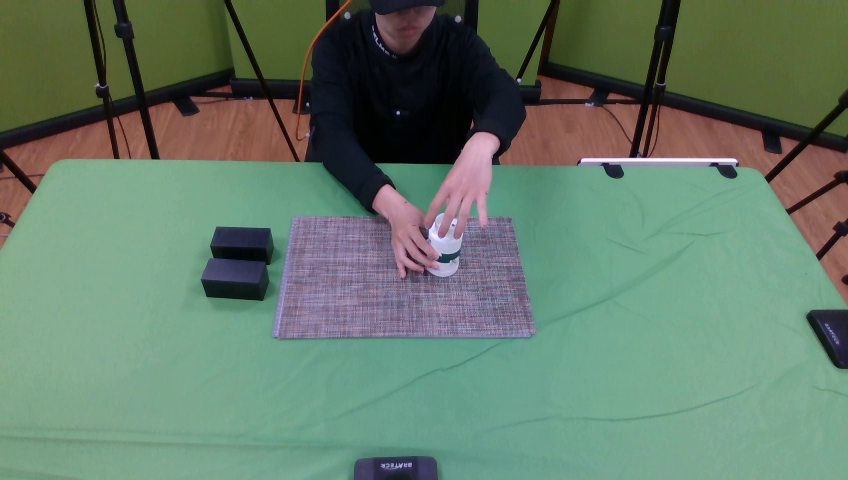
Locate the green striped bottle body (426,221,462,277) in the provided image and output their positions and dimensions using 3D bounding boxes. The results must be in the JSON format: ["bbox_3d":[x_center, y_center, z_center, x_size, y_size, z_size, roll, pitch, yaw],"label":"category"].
[{"bbox_3d":[0.037,0.007,1.121,0.063,0.120,0.063,2,46,-2],"label":"green striped bottle body"}]

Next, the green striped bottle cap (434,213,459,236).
[{"bbox_3d":[0.040,-0.028,1.084,0.044,0.020,0.044,0,45,0],"label":"green striped bottle cap"}]
